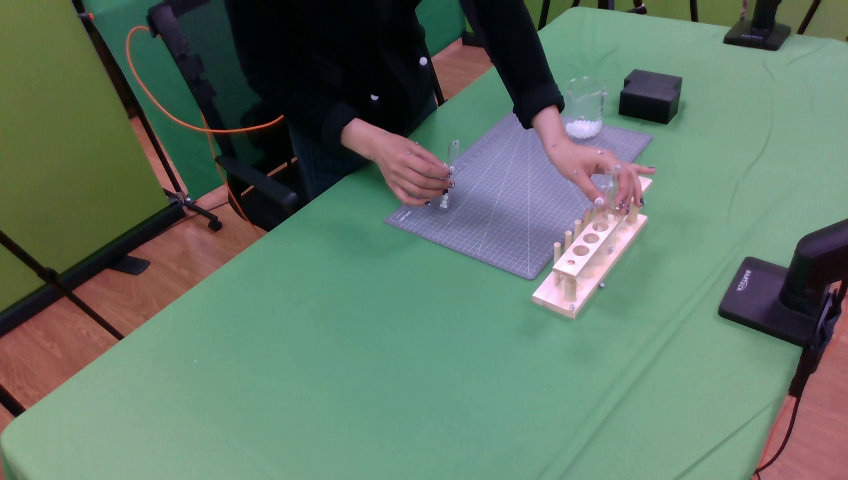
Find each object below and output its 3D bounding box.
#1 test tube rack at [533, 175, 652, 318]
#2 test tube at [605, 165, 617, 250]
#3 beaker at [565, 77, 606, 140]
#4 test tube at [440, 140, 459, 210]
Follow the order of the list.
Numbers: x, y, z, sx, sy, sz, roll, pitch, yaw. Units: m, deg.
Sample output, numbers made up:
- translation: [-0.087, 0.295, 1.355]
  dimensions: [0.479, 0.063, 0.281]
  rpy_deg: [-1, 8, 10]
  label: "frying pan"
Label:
- translation: [0.251, -0.001, 0.888]
  dimensions: [0.066, 0.085, 0.243]
  rpy_deg: [23, 49, 32]
  label: "test tube rack"
- translation: [0.264, -0.042, 0.853]
  dimensions: [0.017, 0.151, 0.017]
  rpy_deg: [-8, 42, 8]
  label: "test tube"
- translation: [0.305, -0.247, 1.153]
  dimensions: [0.073, 0.101, 0.084]
  rpy_deg: [15, 46, 27]
  label: "beaker"
- translation: [0.040, -0.100, 0.969]
  dimensions: [0.017, 0.151, 0.017]
  rpy_deg: [3, 50, -4]
  label: "test tube"
